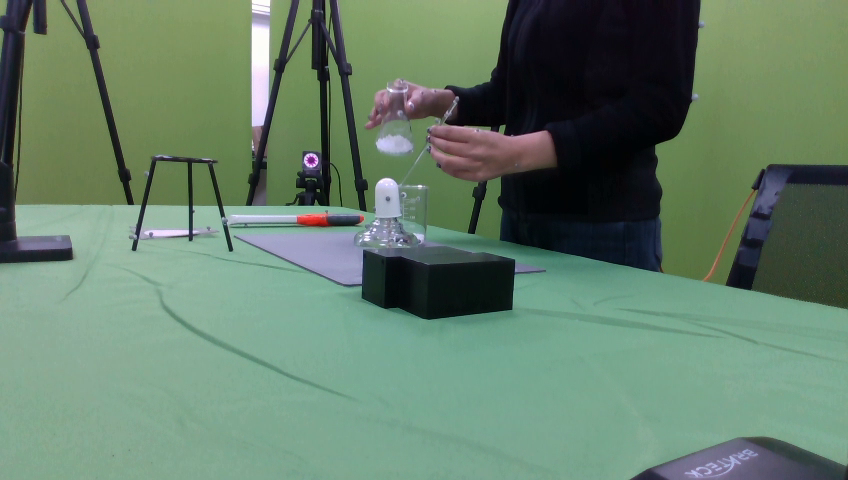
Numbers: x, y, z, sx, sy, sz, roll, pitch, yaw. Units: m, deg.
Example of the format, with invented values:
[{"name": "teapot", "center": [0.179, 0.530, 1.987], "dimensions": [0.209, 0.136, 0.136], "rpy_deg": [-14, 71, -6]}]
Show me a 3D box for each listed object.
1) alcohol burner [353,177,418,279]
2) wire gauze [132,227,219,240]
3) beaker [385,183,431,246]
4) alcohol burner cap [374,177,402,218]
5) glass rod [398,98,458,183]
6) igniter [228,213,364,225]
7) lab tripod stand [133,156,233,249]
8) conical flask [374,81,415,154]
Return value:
[{"name": "alcohol burner", "center": [-0.044, -0.014, 0.710], "dimensions": [0.078, 0.119, 0.078], "rpy_deg": [4, 9, 0]}, {"name": "wire gauze", "center": [-0.421, -0.014, 1.024], "dimensions": [0.122, 0.011, 0.124], "rpy_deg": [-2, 7, -34]}, {"name": "beaker", "center": [-0.031, -0.043, 1.000], "dimensions": [0.084, 0.100, 0.074], "rpy_deg": [4, 7, 15]}, {"name": "alcohol burner cap", "center": [-0.044, -0.049, 0.704], "dimensions": [0.034, 0.048, 0.034], "rpy_deg": [-4, 10, 1]}, {"name": "glass rod", "center": [0.003, -0.153, 0.953], "dimensions": [0.008, 0.008, 0.199], "rpy_deg": [-3, -31, -34]}, {"name": "igniter", "center": [-0.252, -0.043, 1.227], "dimensions": [0.278, 0.025, 0.057], "rpy_deg": [-2, -2, -32]}, {"name": "lab tripod stand", "center": [-0.342, -0.054, 0.878], "dimensions": [0.148, 0.131, 0.148], "rpy_deg": [4, 6, 0]}, {"name": "conical flask", "center": [-0.050, -0.220, 1.079], "dimensions": [0.075, 0.122, 0.075], "rpy_deg": [4, 30, -2]}]
